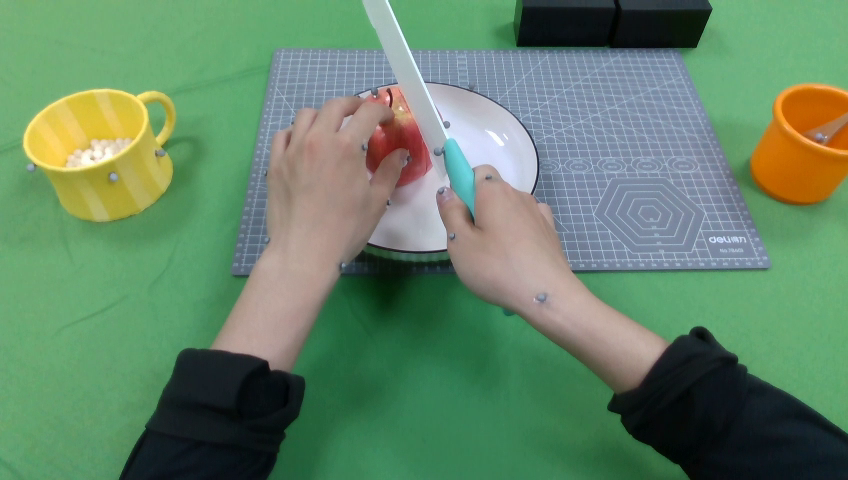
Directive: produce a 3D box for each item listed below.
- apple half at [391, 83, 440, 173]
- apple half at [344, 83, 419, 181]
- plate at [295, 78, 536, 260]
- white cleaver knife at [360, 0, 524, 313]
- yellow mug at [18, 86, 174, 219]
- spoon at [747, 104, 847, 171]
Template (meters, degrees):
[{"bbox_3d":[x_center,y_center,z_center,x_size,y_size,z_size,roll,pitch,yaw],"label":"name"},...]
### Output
[{"bbox_3d":[-0.003,-0.100,0.531,0.033,0.082,0.080,-21,57,-10],"label":"apple half"},{"bbox_3d":[-0.040,-0.088,0.522,0.053,0.075,0.080,-19,62,-9],"label":"apple half"},{"bbox_3d":[-0.007,-0.064,0.538,0.209,0.038,0.207,1,54,-1],"label":"plate"},{"bbox_3d":[0.008,-0.079,0.456,0.021,0.066,0.285,-21,82,-9],"label":"white cleaver knife"},{"bbox_3d":[-0.274,-0.087,0.534,0.099,0.064,0.130,29,57,18],"label":"yellow mug"},{"bbox_3d":[0.378,-0.117,0.522,0.022,0.194,0.041,29,40,-36],"label":"spoon"}]
